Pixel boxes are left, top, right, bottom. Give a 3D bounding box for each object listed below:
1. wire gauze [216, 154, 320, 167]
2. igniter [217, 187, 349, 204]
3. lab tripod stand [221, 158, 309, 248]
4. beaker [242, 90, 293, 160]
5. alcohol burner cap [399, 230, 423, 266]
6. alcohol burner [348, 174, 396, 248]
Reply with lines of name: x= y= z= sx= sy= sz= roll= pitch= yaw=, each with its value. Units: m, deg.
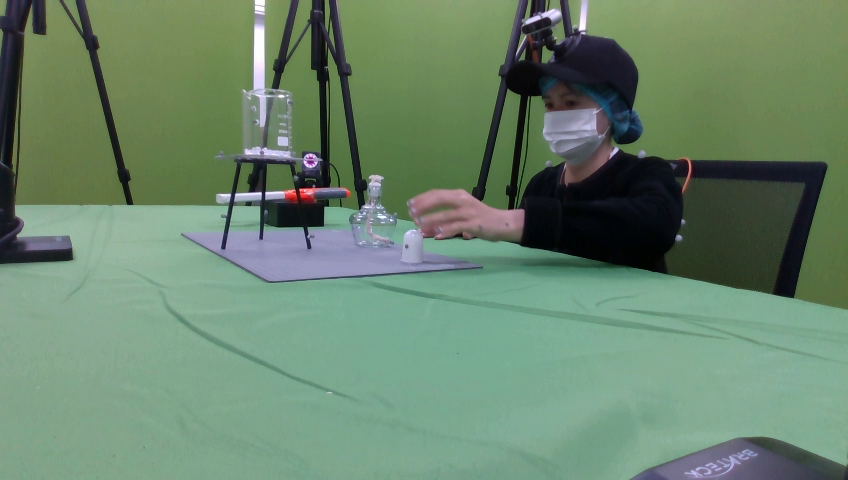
wire gauze: x=-0.236 y=-0.121 z=0.906 sx=0.126 sy=0.011 sz=0.121 roll=0 pitch=8 yaw=-33
igniter: x=-0.285 y=-0.093 z=1.256 sx=0.278 sy=0.025 sz=0.057 roll=-6 pitch=12 yaw=-34
lab tripod stand: x=-0.244 y=-0.057 z=0.917 sx=0.148 sy=0.131 sz=0.148 roll=1 pitch=7 yaw=0
beaker: x=-0.235 y=-0.169 z=0.900 sx=0.074 sy=0.100 sz=0.084 roll=4 pitch=7 yaw=23
alcohol burner cap: x=-0.017 y=0.010 z=0.837 sx=0.034 sy=0.048 sz=0.034 roll=3 pitch=7 yaw=0
alcohol burner: x=-0.083 y=-0.046 z=0.973 sx=0.078 sy=0.119 sz=0.078 roll=4 pitch=6 yaw=0
